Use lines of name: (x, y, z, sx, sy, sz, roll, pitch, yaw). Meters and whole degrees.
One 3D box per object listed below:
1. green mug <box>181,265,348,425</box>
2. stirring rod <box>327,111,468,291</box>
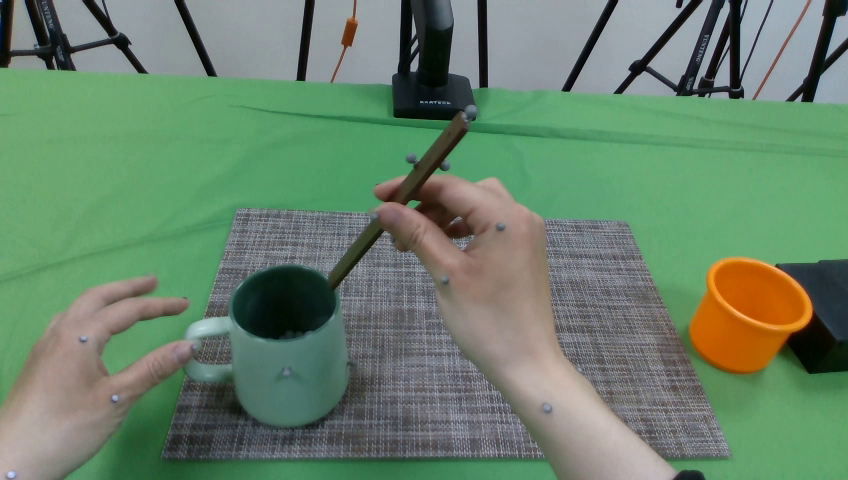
green mug: (-0.122, 0.085, 0.471, 0.126, 0.106, 0.091, -5, 43, -13)
stirring rod: (-0.023, -0.015, 0.361, 0.006, 0.176, 0.014, 11, 53, -28)
